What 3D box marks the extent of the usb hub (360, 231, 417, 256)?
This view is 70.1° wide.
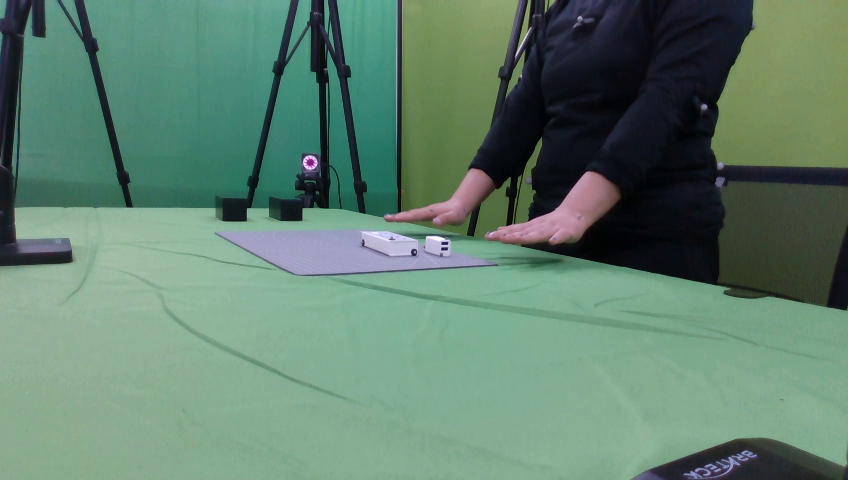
[{"bbox_3d":[-0.059,0.004,0.951,0.050,0.025,0.124,-1,8,-26],"label":"usb hub"}]

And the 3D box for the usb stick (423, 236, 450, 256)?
[{"bbox_3d":[0.017,0.009,0.937,0.021,0.027,0.059,-1,6,-29],"label":"usb stick"}]
